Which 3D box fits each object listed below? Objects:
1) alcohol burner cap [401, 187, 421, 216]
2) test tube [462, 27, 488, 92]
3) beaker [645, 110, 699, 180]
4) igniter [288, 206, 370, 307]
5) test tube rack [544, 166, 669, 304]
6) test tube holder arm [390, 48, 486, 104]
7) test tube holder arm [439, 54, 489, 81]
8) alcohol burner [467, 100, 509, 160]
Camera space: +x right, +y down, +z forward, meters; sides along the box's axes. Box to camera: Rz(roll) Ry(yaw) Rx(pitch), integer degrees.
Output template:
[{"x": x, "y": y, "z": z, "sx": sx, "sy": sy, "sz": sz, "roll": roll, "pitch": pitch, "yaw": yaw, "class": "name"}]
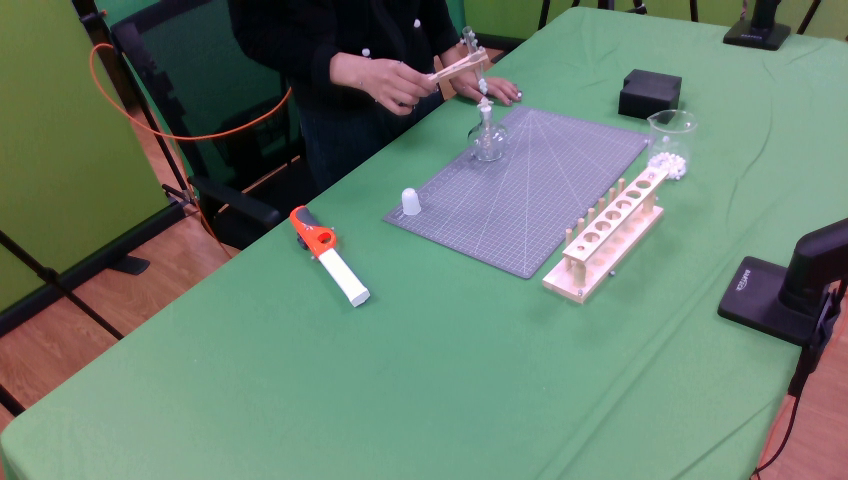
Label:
[{"x": -0.025, "y": -0.070, "z": 1.048, "sx": 0.034, "sy": 0.048, "sz": 0.033, "roll": -5, "pitch": 41, "yaw": 5, "class": "alcohol burner cap"}, {"x": 0.088, "y": -0.299, "z": 1.016, "sx": 0.017, "sy": 0.151, "sz": 0.017, "roll": -7, "pitch": 63, "yaw": 14, "class": "test tube"}, {"x": 0.417, "y": -0.160, "z": 1.032, "sx": 0.083, "sy": 0.101, "sz": 0.074, "roll": 25, "pitch": 51, "yaw": 34, "class": "beaker"}, {"x": -0.163, "y": 0.017, "z": 0.986, "sx": 0.057, "sy": 0.025, "sz": 0.274, "roll": -33, "pitch": 45, "yaw": -13, "class": "igniter"}, {"x": 0.274, "y": -0.018, "z": 0.903, "sx": 0.066, "sy": 0.085, "sz": 0.243, "roll": 26, "pitch": 51, "yaw": 35, "class": "test tube rack"}, {"x": 0.024, "y": -0.277, "z": 1.026, "sx": 0.178, "sy": 0.015, "sz": 0.013, "roll": -24, "pitch": 61, "yaw": 10, "class": "test tube holder arm"}, {"x": 0.066, "y": -0.289, "z": 1.015, "sx": 0.087, "sy": 0.015, "sz": 0.010, "roll": -17, "pitch": 63, "yaw": 13, "class": "test tube holder arm"}, {"x": 0.118, "y": -0.210, "z": 1.131, "sx": 0.078, "sy": 0.119, "sz": 0.077, "roll": -5, "pitch": 42, "yaw": 5, "class": "alcohol burner"}]
